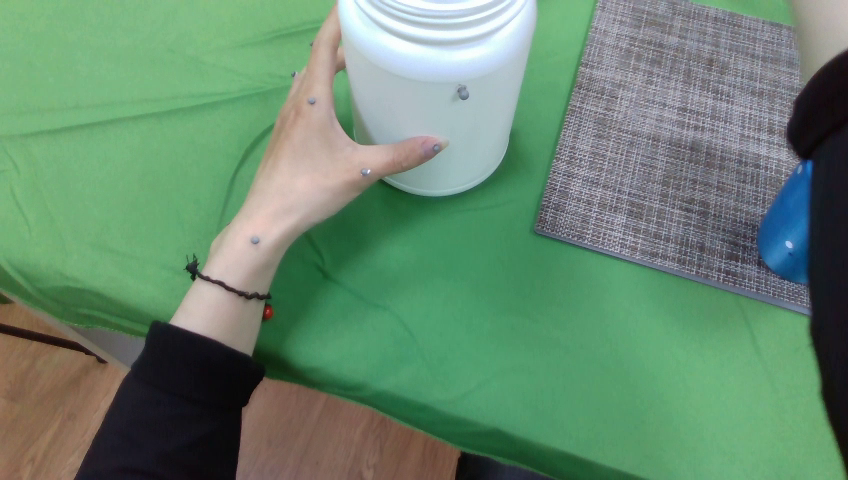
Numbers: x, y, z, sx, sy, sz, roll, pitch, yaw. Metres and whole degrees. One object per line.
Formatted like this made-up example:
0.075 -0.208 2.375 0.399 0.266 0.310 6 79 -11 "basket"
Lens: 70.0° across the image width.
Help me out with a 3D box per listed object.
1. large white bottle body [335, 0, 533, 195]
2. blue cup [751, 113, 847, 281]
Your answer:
0.006 -0.132 0.438 0.131 0.186 0.129 1 62 -1 "large white bottle body"
0.286 -0.018 0.431 0.092 0.101 0.092 0 61 0 "blue cup"
